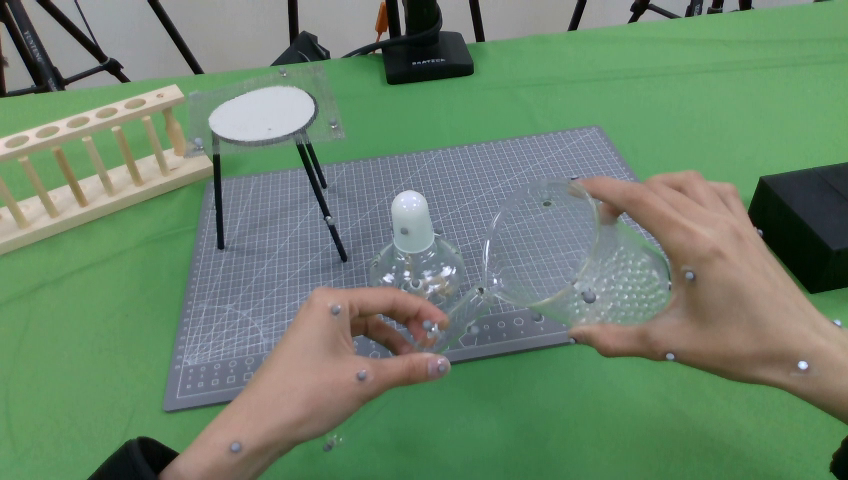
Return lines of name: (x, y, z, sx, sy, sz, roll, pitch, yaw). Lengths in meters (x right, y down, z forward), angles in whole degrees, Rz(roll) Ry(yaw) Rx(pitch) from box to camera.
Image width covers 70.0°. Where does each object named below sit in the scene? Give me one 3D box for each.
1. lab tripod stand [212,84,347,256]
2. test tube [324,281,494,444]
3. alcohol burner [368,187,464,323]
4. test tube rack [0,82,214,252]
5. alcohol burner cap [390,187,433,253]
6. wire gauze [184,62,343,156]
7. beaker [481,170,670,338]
lab tripod stand: (-0.132, -0.061, 0.552, 0.148, 0.133, 0.147, -3, 44, 3)
test tube: (-0.013, 0.078, 0.369, 0.150, 0.017, 0.017, -46, 39, 21)
alcohol burner: (-0.008, 0.009, 0.479, 0.078, 0.120, 0.077, -2, 40, 2)
test tube rack: (-0.355, -0.077, 0.631, 0.242, 0.086, 0.066, -25, 46, -21)
alcohol burner cap: (-0.011, -0.018, 0.455, 0.034, 0.048, 0.033, -3, 44, 4)
wire gauze: (-0.137, -0.110, 0.506, 0.125, 0.011, 0.120, -13, 43, -8)
beaker: (0.091, 0.016, 0.358, 0.084, 0.101, 0.073, -43, 45, 22)
